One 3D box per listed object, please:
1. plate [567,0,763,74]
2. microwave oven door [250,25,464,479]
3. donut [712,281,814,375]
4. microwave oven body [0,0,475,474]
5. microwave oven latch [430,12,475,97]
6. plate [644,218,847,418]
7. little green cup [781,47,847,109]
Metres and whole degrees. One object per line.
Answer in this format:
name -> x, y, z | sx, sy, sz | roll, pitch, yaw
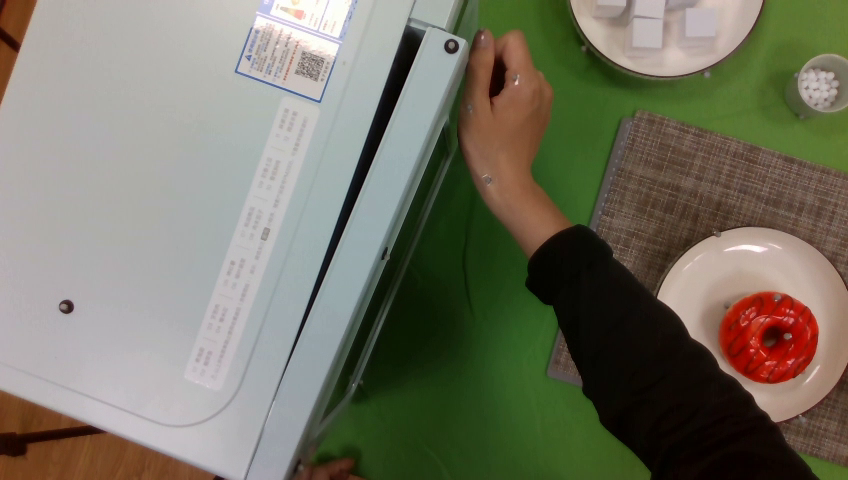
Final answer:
plate -> 0.254, -0.279, 0.650 | 0.207, 0.039, 0.207 | 0, 90, 3
microwave oven door -> -0.045, 0.013, 0.547 | 0.039, 0.244, 0.355 | 22, 91, 3
donut -> 0.351, 0.091, 0.630 | 0.099, 0.048, 0.099 | 0, 91, 5
microwave oven body -> -0.175, -0.079, 0.560 | 0.326, 0.260, 0.441 | 20, 92, 3
microwave oven latch -> 0.030, -0.196, 0.644 | 0.030, 0.029, 0.079 | 22, 92, 3
plate -> 0.337, 0.081, 0.642 | 0.209, 0.038, 0.209 | 0, 90, 4
little green cup -> 0.414, -0.169, 0.641 | 0.061, 0.038, 0.061 | 0, 90, 4
